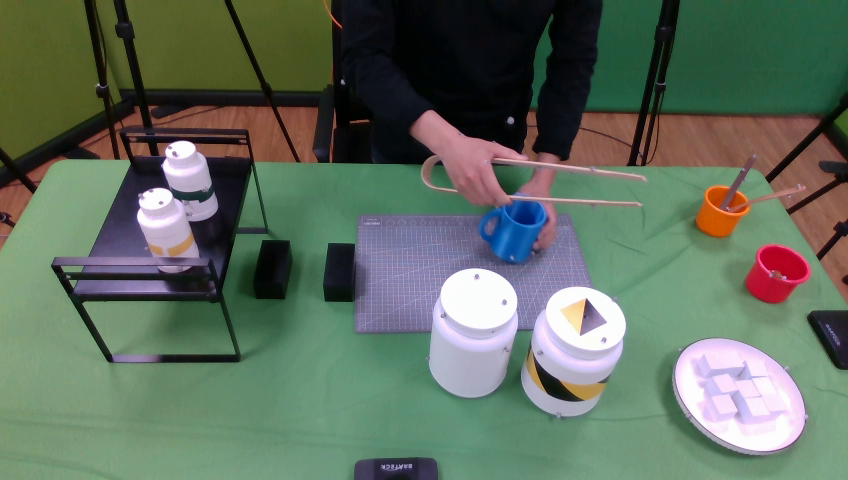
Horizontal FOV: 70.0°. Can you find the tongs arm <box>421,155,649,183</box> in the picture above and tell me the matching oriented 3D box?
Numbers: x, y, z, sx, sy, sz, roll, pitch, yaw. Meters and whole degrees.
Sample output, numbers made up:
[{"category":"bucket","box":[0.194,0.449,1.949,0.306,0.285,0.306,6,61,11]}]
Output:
[{"category":"tongs arm","box":[0.159,-0.104,0.971,0.383,0.051,0.026,14,2,34]}]

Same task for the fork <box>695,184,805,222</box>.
[{"category":"fork","box":[0.657,-0.075,1.230,0.207,0.019,0.028,-23,34,37]}]

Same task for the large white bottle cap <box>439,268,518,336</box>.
[{"category":"large white bottle cap","box":[0.080,0.089,0.888,0.115,0.018,0.114,2,47,-2]}]

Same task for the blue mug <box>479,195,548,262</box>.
[{"category":"blue mug","box":[0.161,-0.022,1.138,0.117,0.106,0.082,6,51,-6]}]

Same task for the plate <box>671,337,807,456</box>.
[{"category":"plate","box":[0.503,0.253,0.984,0.208,0.039,0.206,2,46,-2]}]

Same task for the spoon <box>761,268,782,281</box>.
[{"category":"spoon","box":[0.638,0.060,1.105,0.041,0.021,0.194,37,11,25]}]

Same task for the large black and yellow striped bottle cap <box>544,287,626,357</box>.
[{"category":"large black and yellow striped bottle cap","box":[0.232,0.116,0.876,0.115,0.019,0.114,1,45,-1]}]

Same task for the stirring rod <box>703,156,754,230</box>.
[{"category":"stirring rod","box":[0.631,-0.098,1.258,0.014,0.006,0.176,33,95,29]}]

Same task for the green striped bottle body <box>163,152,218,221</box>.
[{"category":"green striped bottle body","box":[-0.363,-0.092,0.939,0.063,0.120,0.063,2,46,-2]}]

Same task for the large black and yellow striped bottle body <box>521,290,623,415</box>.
[{"category":"large black and yellow striped bottle body","box":[0.228,0.173,0.938,0.131,0.185,0.130,2,47,-2]}]

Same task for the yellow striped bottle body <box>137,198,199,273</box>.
[{"category":"yellow striped bottle body","box":[-0.366,-0.014,0.864,0.063,0.121,0.062,2,46,-2]}]

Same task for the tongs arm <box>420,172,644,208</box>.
[{"category":"tongs arm","box":[0.154,-0.078,0.971,0.386,0.028,0.028,10,3,34]}]

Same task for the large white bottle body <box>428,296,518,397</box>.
[{"category":"large white bottle body","box":[0.076,0.147,0.950,0.131,0.185,0.130,2,46,-2]}]

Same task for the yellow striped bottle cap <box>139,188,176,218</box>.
[{"category":"yellow striped bottle cap","box":[-0.363,-0.051,0.826,0.044,0.019,0.044,1,47,0]}]

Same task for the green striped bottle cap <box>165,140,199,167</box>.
[{"category":"green striped bottle cap","box":[-0.360,-0.128,0.902,0.044,0.020,0.044,2,47,-2]}]
